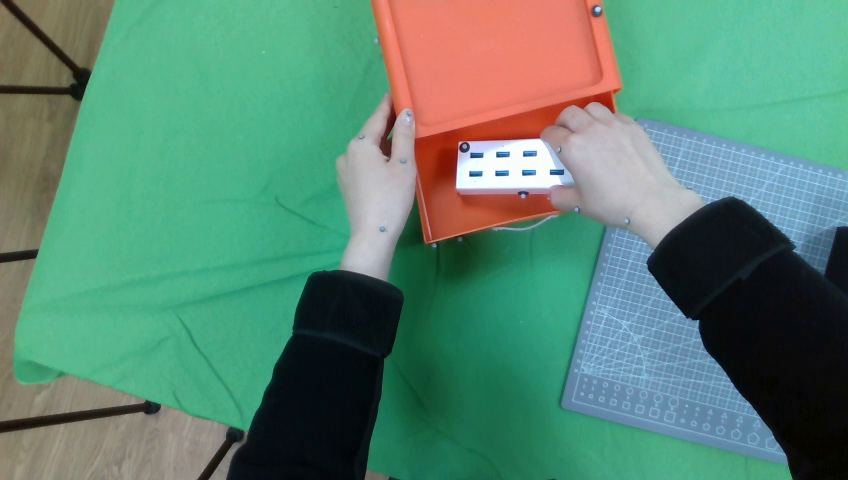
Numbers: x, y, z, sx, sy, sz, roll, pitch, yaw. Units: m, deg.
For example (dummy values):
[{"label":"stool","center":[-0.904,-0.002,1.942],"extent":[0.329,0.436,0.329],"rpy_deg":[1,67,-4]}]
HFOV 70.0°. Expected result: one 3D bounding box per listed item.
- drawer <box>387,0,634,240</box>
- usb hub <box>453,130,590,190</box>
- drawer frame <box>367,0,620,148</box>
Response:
[{"label":"drawer","center":[0.073,-0.119,0.564],"extent":[0.194,0.073,0.212],"rpy_deg":[-12,92,1]},{"label":"usb hub","center":[0.090,-0.075,0.567],"extent":[0.125,0.025,0.049],"rpy_deg":[0,81,17]},{"label":"drawer frame","center":[0.051,-0.212,0.562],"extent":[0.202,0.083,0.213],"rpy_deg":[-14,90,1]}]
